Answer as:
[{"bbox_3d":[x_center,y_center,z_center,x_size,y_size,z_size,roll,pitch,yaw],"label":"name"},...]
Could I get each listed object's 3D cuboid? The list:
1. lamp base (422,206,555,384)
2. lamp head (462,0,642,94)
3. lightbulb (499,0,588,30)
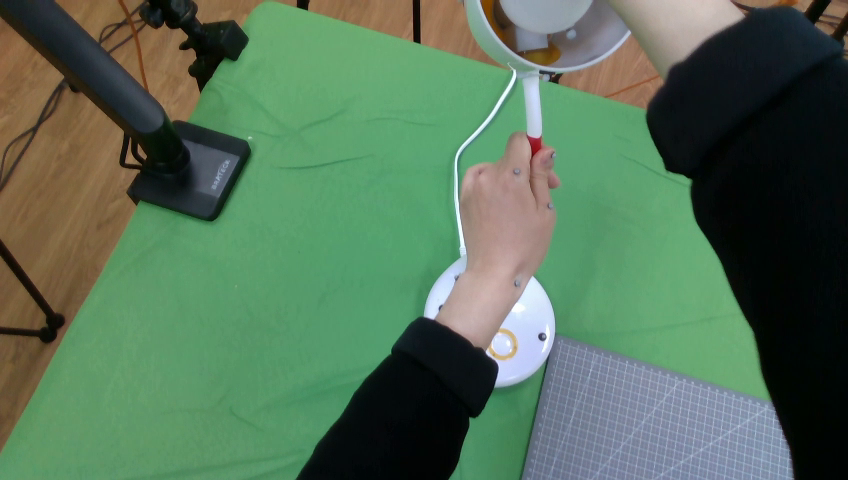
[{"bbox_3d":[0.077,0.052,0.663,0.161,0.181,0.177,-22,67,-13],"label":"lamp base"},{"bbox_3d":[0.075,-0.163,0.417,0.112,0.122,0.112,0,92,-7],"label":"lamp head"},{"bbox_3d":[0.072,-0.164,0.392,0.059,0.107,0.060,-1,102,-4],"label":"lightbulb"}]
